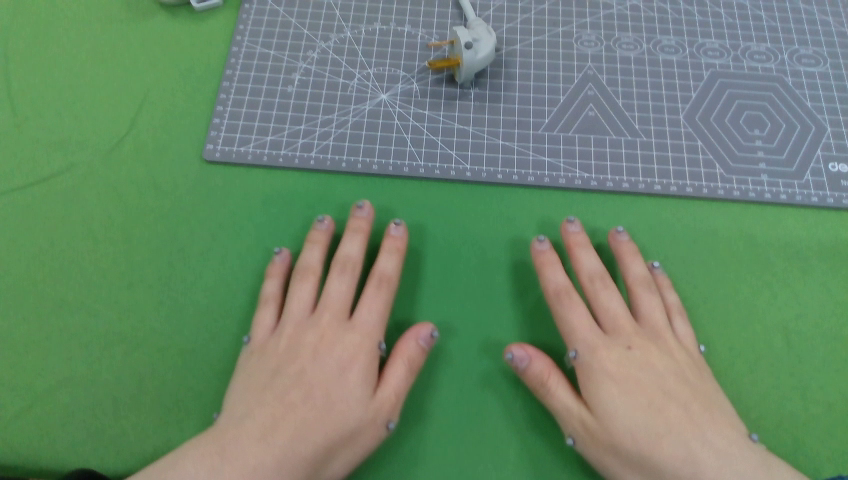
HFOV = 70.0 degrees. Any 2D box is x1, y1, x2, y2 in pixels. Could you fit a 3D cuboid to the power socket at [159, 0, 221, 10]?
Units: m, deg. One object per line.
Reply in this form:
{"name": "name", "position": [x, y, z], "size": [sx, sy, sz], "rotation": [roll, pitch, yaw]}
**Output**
{"name": "power socket", "position": [-0.195, -0.271, 0.463], "size": [0.072, 0.033, 0.225], "rotation": [-18, 68, -10]}

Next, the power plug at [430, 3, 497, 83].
{"name": "power plug", "position": [0.026, -0.126, 0.379], "size": [0.035, 0.072, 0.053], "rotation": [0, 98, 11]}
